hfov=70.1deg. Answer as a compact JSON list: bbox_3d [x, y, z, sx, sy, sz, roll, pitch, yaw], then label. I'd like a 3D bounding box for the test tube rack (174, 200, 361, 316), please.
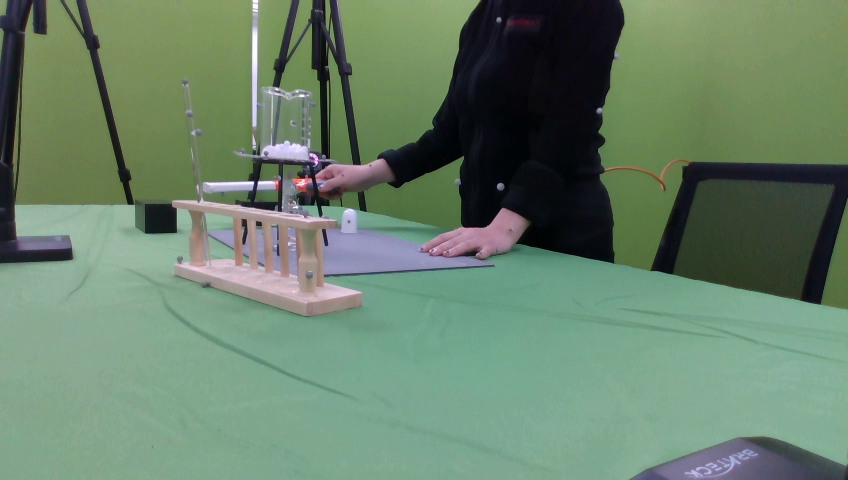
[{"bbox_3d":[-0.169,0.009,0.622,0.241,0.085,0.067,9,9,41],"label":"test tube rack"}]

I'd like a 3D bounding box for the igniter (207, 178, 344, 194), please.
[{"bbox_3d":[-0.289,-0.107,1.194,0.278,0.025,0.057,-6,15,-35],"label":"igniter"}]

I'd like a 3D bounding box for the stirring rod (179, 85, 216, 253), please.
[{"bbox_3d":[-0.237,-0.073,0.634,0.006,0.176,0.014,1,10,42],"label":"stirring rod"}]

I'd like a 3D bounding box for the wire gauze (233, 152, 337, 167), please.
[{"bbox_3d":[-0.205,-0.119,0.887,0.122,0.011,0.124,2,4,-32],"label":"wire gauze"}]

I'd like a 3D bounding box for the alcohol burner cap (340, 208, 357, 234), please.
[{"bbox_3d":[-0.142,-0.036,1.136,0.034,0.048,0.034,2,7,0],"label":"alcohol burner cap"}]

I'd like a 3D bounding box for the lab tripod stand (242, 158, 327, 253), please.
[{"bbox_3d":[-0.207,-0.054,0.895,0.148,0.131,0.148,2,5,0],"label":"lab tripod stand"}]

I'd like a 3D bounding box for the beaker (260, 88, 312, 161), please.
[{"bbox_3d":[-0.200,-0.166,0.876,0.074,0.100,0.083,1,7,-18],"label":"beaker"}]

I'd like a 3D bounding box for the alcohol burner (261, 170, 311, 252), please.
[{"bbox_3d":[-0.201,-0.043,0.891,0.078,0.119,0.078,1,6,0],"label":"alcohol burner"}]
